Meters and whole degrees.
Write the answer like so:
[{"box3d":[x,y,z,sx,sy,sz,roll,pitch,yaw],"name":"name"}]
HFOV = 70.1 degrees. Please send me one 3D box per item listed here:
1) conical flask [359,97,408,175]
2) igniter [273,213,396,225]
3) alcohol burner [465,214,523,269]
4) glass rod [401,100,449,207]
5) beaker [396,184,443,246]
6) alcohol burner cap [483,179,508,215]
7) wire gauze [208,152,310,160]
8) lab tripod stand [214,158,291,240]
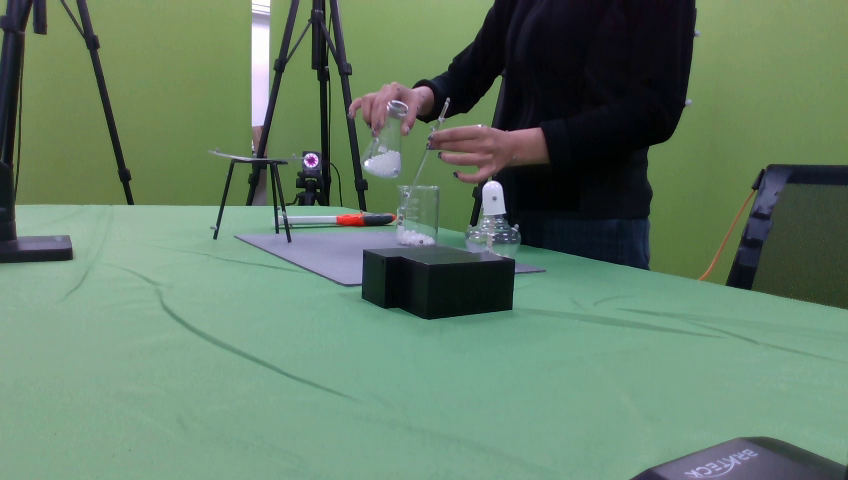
[{"box3d":[-0.061,-0.176,1.018,0.075,0.122,0.075,15,28,-8],"name":"conical flask"},{"box3d":[-0.178,-0.044,1.258,0.278,0.025,0.057,-3,-2,-39],"name":"igniter"},{"box3d":[0.094,-0.022,0.815,0.078,0.119,0.078,0,7,0],"name":"alcohol burner"},{"box3d":[0.000,-0.135,0.969,0.008,0.199,0.008,19,31,-11],"name":"glass rod"},{"box3d":[-0.011,-0.043,1.005,0.083,0.100,0.074,8,9,39],"name":"beaker"},{"box3d":[0.094,-0.057,0.810,0.034,0.048,0.034,-8,6,1],"name":"alcohol burner cap"},{"box3d":[-0.270,-0.135,0.993,0.124,0.011,0.122,8,8,41],"name":"wire gauze"},{"box3d":[-0.268,-0.068,1.002,0.148,0.131,0.148,3,6,0],"name":"lab tripod stand"}]
